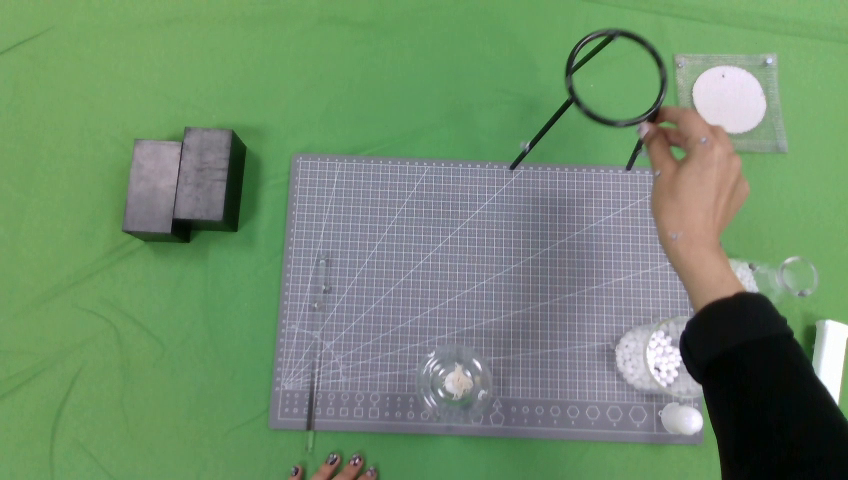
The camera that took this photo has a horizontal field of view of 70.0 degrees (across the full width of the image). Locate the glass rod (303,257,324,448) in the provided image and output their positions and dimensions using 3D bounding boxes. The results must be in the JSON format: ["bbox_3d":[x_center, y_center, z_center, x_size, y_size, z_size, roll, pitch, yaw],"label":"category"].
[{"bbox_3d":[-0.116,0.117,0.639,0.008,0.008,0.199,3,82,0],"label":"glass rod"}]

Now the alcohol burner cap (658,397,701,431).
[{"bbox_3d":[0.263,0.178,0.615,0.034,0.048,0.033,0,78,-1],"label":"alcohol burner cap"}]

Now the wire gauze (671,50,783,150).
[{"bbox_3d":[0.353,-0.164,0.703,0.125,0.011,0.121,1,79,-3],"label":"wire gauze"}]

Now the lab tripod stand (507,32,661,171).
[{"bbox_3d":[0.154,-0.121,0.580,0.148,0.132,0.148,1,80,-4],"label":"lab tripod stand"}]

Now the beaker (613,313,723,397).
[{"bbox_3d":[0.237,0.112,0.599,0.084,0.100,0.073,-21,79,-5],"label":"beaker"}]

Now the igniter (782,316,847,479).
[{"bbox_3d":[0.398,0.214,0.620,0.057,0.025,0.275,17,79,-8],"label":"igniter"}]

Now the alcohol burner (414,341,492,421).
[{"bbox_3d":[0.028,0.135,0.584,0.078,0.119,0.077,0,77,1],"label":"alcohol burner"}]

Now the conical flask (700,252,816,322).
[{"bbox_3d":[0.336,0.041,0.605,0.075,0.122,0.075,0,78,0],"label":"conical flask"}]
